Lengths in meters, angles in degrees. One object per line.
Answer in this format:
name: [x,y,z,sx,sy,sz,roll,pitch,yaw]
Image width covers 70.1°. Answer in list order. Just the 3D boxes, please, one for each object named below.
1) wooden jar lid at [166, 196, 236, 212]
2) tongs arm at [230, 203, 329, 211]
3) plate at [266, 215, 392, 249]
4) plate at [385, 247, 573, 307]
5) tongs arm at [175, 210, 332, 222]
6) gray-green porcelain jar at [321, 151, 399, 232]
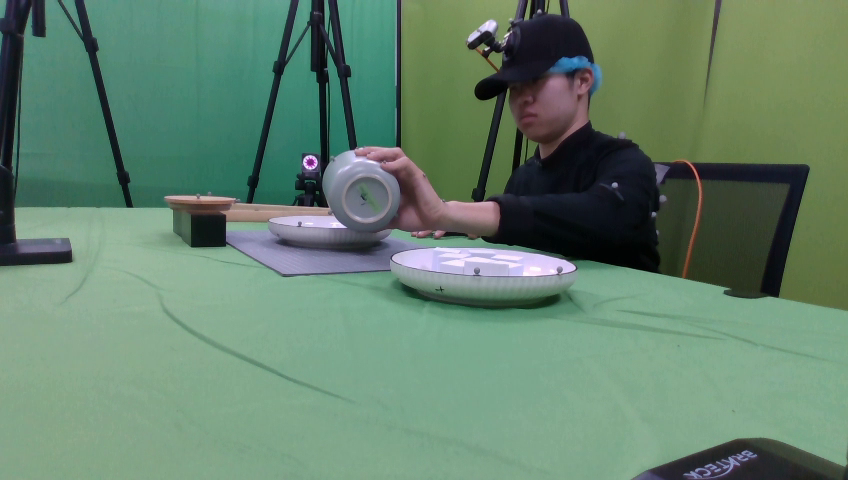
wooden jar lid: [-0.369,-0.060,1.001,0.108,0.020,0.108,3,6,0]
tongs arm: [-0.362,-0.068,1.406,0.386,0.026,0.050,2,9,-14]
plate: [-0.159,-0.015,1.019,0.209,0.038,0.209,3,7,0]
plate: [0.060,0.041,0.678,0.208,0.039,0.207,3,7,0]
tongs arm: [-0.337,-0.052,1.329,0.389,0.028,0.028,-1,6,-27]
gray-green porcelain jar: [-0.096,-0.073,0.898,0.106,0.106,0.126,1,16,-15]
